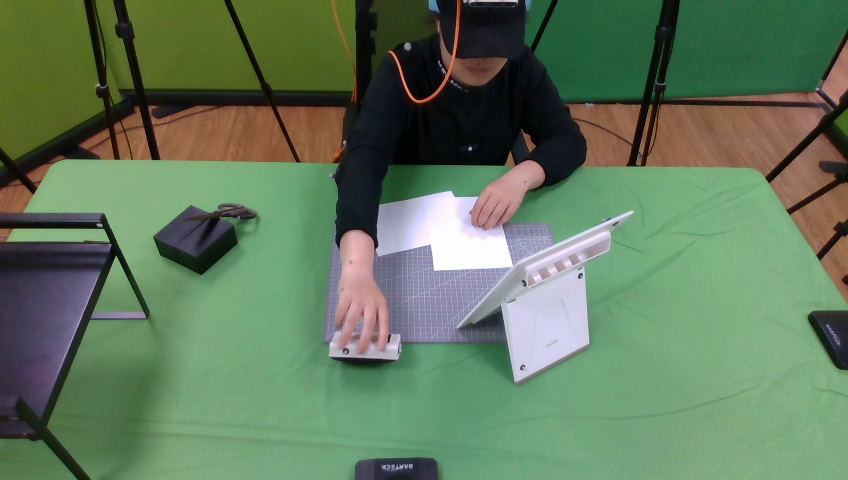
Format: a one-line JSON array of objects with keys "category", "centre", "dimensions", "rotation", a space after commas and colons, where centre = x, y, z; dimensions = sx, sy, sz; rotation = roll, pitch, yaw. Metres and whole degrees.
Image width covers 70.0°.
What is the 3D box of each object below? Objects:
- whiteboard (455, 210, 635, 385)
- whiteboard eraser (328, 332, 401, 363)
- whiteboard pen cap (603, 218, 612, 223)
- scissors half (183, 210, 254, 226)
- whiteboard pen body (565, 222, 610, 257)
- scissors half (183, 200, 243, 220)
[{"category": "whiteboard", "centre": [0.211, 0.111, 0.955], "dimensions": [0.217, 0.306, 0.143], "rotation": [-21, 72, -23]}, {"category": "whiteboard eraser", "centre": [-0.095, 0.176, 0.983], "dimensions": [0.113, 0.042, 0.055], "rotation": [1, 15, 3]}, {"category": "whiteboard pen cap", "centre": [0.379, -0.031, 1.255], "dimensions": [0.033, 0.018, 0.018], "rotation": [-33, 57, -29]}, {"category": "scissors half", "centre": [-0.390, -0.042, 1.158], "dimensions": [0.040, 0.013, 0.175], "rotation": [44, 21, 21]}, {"category": "whiteboard pen body", "centre": [0.335, -0.004, 1.228], "dimensions": [0.141, 0.017, 0.017], "rotation": [-33, 56, -29]}, {"category": "scissors half", "centre": [-0.405, -0.054, 1.163], "dimensions": [0.040, 0.013, 0.175], "rotation": [33, 18, 6]}]
